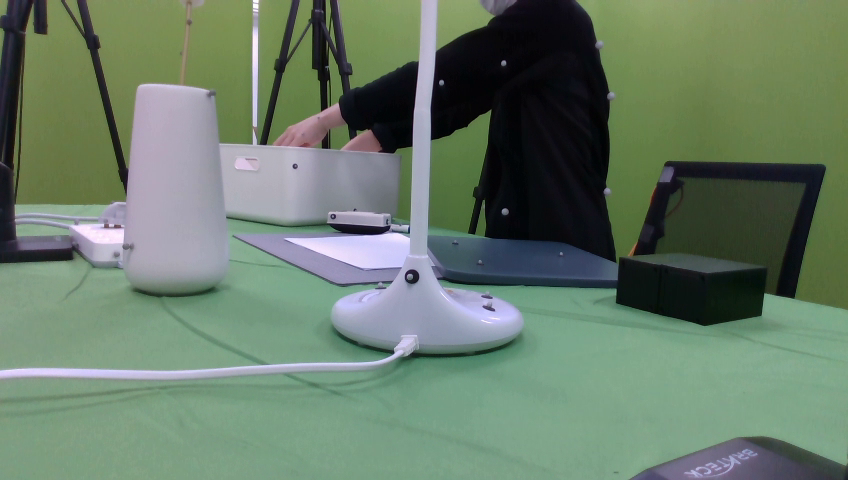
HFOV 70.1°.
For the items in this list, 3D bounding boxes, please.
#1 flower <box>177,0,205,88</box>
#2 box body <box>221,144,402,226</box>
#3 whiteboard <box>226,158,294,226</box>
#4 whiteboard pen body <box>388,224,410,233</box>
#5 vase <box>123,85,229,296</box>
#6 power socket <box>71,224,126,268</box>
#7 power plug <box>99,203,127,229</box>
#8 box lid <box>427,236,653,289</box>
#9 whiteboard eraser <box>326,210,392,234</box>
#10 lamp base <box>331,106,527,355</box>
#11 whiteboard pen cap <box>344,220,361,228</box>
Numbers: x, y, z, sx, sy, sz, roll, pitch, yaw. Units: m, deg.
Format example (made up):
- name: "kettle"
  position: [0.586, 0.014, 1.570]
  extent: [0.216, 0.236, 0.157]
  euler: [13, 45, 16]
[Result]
- name: "flower"
  position: [-0.243, -0.131, 0.609]
  extent: [0.044, 0.361, 0.038]
  euler: [-5, -12, 12]
- name: "box body"
  position: [-0.254, -0.128, 1.379]
  extent: [0.253, 0.160, 0.366]
  euler: [8, 9, 36]
- name: "whiteboard"
  position: [-0.265, -0.117, 1.372]
  extent: [0.216, 0.143, 0.307]
  euler: [4, 7, 35]
- name: "whiteboard pen body"
  position: [-0.088, -0.026, 1.214]
  extent: [0.140, 0.017, 0.017]
  euler: [5, 8, 18]
- name: "vase"
  position: [-0.244, -0.047, 0.598]
  extent: [0.098, 0.200, 0.098]
  euler: [3, 8, 0]
- name: "power socket"
  position: [-0.409, 0.004, 0.793]
  extent: [0.072, 0.032, 0.225]
  euler: [-2, 8, -37]
- name: "power plug"
  position: [-0.415, -0.026, 0.848]
  extent: [0.073, 0.052, 0.035]
  euler: [6, 5, -28]
- name: "box lid"
  position: [0.139, 0.028, 0.886]
  extent: [0.264, 0.015, 0.371]
  euler: [2, 7, -6]
- name: "whiteboard eraser"
  position: [-0.121, -0.033, 1.131]
  extent: [0.112, 0.042, 0.056]
  euler: [4, 9, 13]
- name: "lamp base"
  position: [0.006, -0.012, 0.478]
  extent: [0.161, 0.180, 0.179]
  euler: [2, 10, 2]
- name: "whiteboard pen cap"
  position: [-0.144, -0.032, 1.230]
  extent: [0.033, 0.018, 0.018]
  euler: [6, 8, 17]
